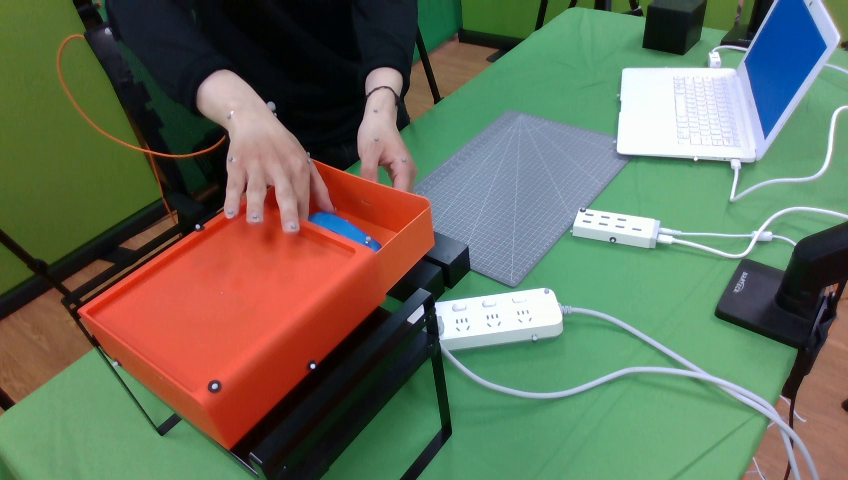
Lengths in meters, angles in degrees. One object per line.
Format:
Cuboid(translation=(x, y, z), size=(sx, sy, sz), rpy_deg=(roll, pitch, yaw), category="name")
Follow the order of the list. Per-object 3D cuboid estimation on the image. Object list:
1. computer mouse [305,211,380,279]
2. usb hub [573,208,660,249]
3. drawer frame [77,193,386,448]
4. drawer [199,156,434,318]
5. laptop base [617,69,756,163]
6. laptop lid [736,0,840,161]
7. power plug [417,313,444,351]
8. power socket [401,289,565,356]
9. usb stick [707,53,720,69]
Cuboid(translation=(-0.107, 0.003, 0.683), size=(0.116, 0.041, 0.063), rpy_deg=(24, 45, 26), category="computer mouse")
Cuboid(translation=(0.302, -0.019, 0.950), size=(0.124, 0.025, 0.049), rpy_deg=(11, 43, 20), category="usb hub")
Cuboid(translation=(-0.181, 0.063, 0.601), size=(0.200, 0.083, 0.214), rpy_deg=(22, 49, 29), category="drawer frame")
Cuboid(translation=(-0.127, 0.009, 0.658), size=(0.193, 0.073, 0.212), rpy_deg=(22, 48, 29), category="drawer")
Cuboid(translation=(0.509, -0.255, 1.201), size=(0.234, 0.023, 0.353), rpy_deg=(4, 41, 16), category="laptop base")
Cuboid(translation=(0.641, -0.327, 1.090), size=(0.013, 0.242, 0.356), rpy_deg=(17, 43, 5), category="laptop lid")
Cuboid(translation=(0.007, 0.127, 0.786), size=(0.035, 0.053, 0.072), rpy_deg=(1, 43, 9), category="power plug")
Cuboid(translation=(0.081, 0.112, 0.822), size=(0.227, 0.033, 0.072), rpy_deg=(-7, 41, -1), category="power socket")
Cuboid(translation=(0.629, -0.382, 1.313), size=(0.021, 0.027, 0.059), rpy_deg=(2, 46, 17), category="usb stick")
